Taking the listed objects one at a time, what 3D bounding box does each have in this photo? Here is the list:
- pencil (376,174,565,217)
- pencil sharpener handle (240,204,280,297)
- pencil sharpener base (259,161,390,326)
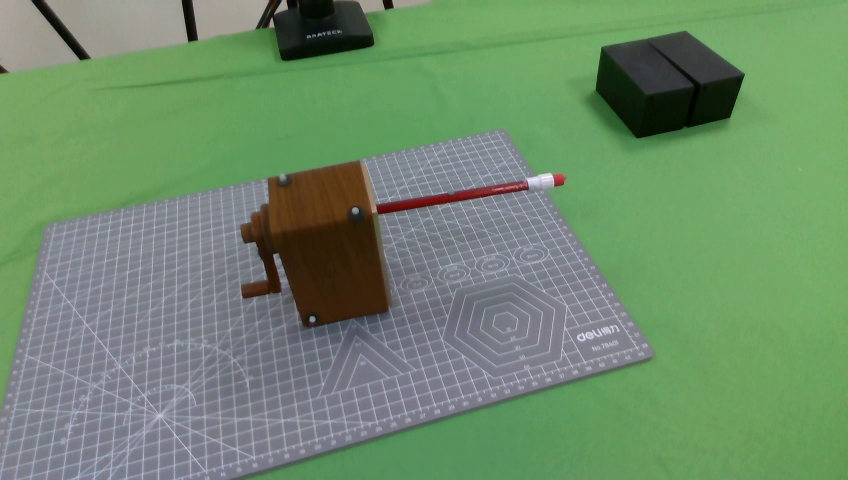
[{"bbox_3d":[0.009,-0.028,0.437,0.194,0.012,0.012,-10,45,-7],"label":"pencil"},{"bbox_3d":[-0.120,0.009,0.426,0.031,0.068,0.035,-11,26,-6],"label":"pencil sharpener handle"},{"bbox_3d":[-0.071,0.005,0.445,0.077,0.108,0.060,-11,45,-6],"label":"pencil sharpener base"}]
